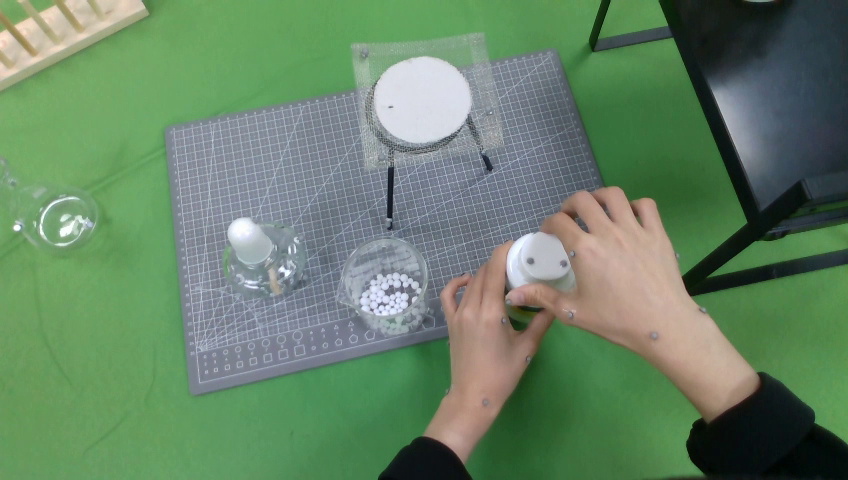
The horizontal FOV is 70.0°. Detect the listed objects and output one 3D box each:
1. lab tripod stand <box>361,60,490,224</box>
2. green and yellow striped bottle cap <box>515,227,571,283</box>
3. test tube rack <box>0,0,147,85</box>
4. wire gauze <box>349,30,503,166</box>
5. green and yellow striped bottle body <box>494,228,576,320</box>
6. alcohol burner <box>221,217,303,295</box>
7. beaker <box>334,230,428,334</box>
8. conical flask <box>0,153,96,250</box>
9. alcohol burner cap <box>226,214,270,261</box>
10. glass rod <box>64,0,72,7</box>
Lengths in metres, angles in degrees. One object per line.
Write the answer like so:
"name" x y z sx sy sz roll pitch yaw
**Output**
"lab tripod stand" -0.004 -0.100 0.588 0.148 0.132 0.147 0 69 0
"green and yellow striped bottle cap" 0.098 0.012 0.500 0.045 0.020 0.045 0 73 2
"test tube rack" -0.452 -0.251 0.677 0.242 0.086 0.066 -32 73 -9
"wire gauze" 0.000 -0.128 0.526 0.121 0.011 0.124 -7 71 -3
"green and yellow striped bottle body" 0.099 0.030 0.549 0.063 0.120 0.063 0 70 1
"alcohol burner" -0.155 0.009 0.565 0.078 0.120 0.077 0 69 0
"beaker" -0.036 0.045 0.558 0.084 0.101 0.073 -24 71 -6
"conical flask" -0.384 -0.043 0.585 0.075 0.122 0.075 0 71 2
"alcohol burner cap" -0.157 -0.005 0.531 0.034 0.048 0.033 0 64 0
"glass rod" -0.414 -0.316 0.628 0.008 0.201 0.008 1 68 -3
